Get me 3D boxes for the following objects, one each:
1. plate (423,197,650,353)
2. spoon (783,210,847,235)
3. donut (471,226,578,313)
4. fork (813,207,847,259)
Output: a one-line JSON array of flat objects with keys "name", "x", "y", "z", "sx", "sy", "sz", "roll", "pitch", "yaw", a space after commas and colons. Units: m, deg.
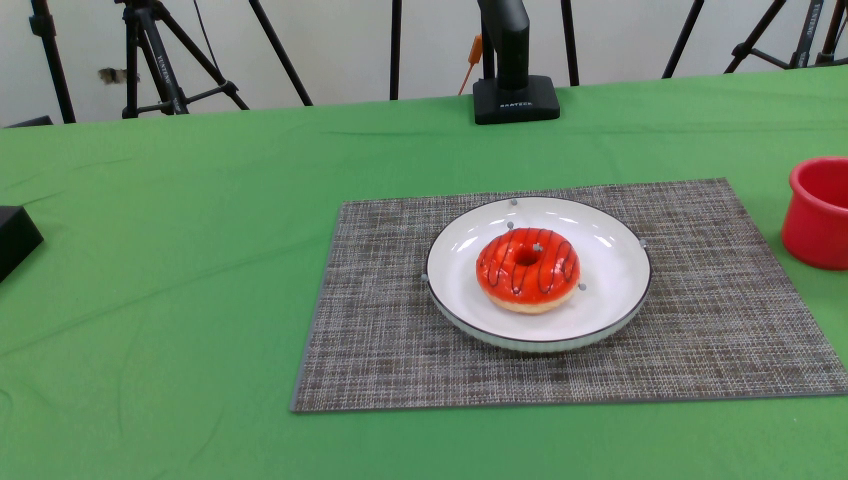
[{"name": "plate", "x": 0.105, "y": 0.032, "z": 0.580, "sx": 0.209, "sy": 0.038, "sz": 0.207, "roll": -4, "pitch": 39, "yaw": 3}, {"name": "spoon", "x": 0.403, "y": -0.028, "z": 0.532, "sx": 0.041, "sy": 0.193, "sz": 0.021, "roll": -31, "pitch": 90, "yaw": -18}, {"name": "donut", "x": 0.095, "y": 0.027, "z": 0.570, "sx": 0.099, "sy": 0.049, "sz": 0.098, "roll": -5, "pitch": 42, "yaw": 5}, {"name": "fork", "x": 0.432, "y": -0.071, "z": 0.569, "sx": 0.019, "sy": 0.207, "sz": 0.028, "roll": 26, "pitch": 6, "yaw": -16}]
